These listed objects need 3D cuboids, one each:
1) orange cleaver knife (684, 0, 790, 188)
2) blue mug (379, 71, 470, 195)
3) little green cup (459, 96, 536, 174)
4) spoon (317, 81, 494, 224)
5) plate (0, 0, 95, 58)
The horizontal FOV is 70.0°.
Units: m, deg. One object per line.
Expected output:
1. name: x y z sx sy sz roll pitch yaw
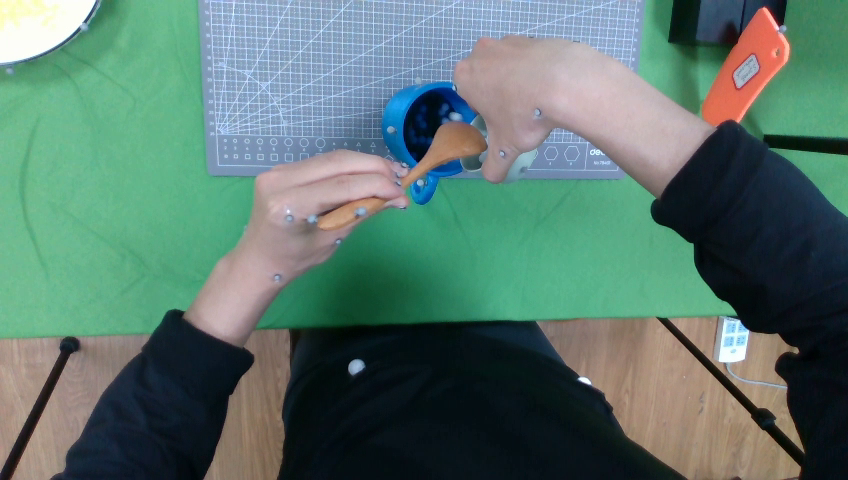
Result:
1. orange cleaver knife: 0.324 -0.152 0.654 0.012 0.076 0.213 -2 136 -13
2. blue mug: 0.002 -0.101 0.582 0.082 0.105 0.117 7 103 -14
3. little green cup: 0.063 -0.086 0.513 0.039 0.061 0.061 21 99 -33
4. spoon: -0.007 -0.065 0.437 0.041 0.021 0.193 46 59 -1
5. plate: -0.369 -0.257 0.492 0.210 0.038 0.210 -3 106 -12
